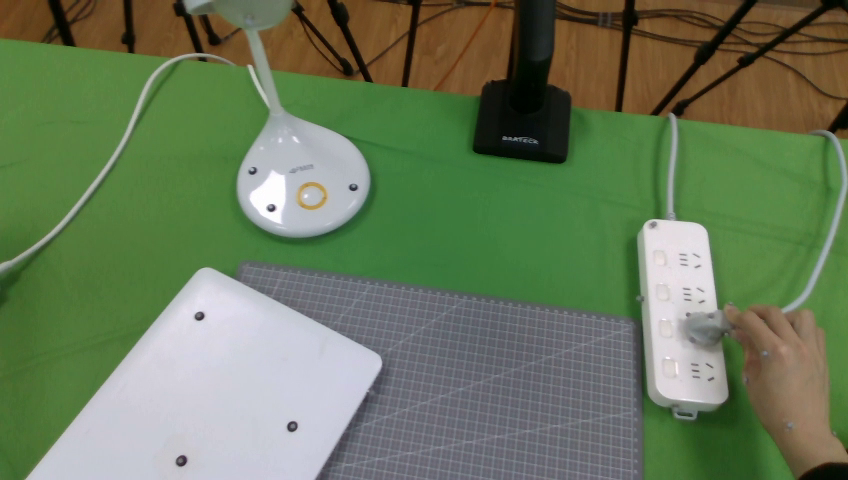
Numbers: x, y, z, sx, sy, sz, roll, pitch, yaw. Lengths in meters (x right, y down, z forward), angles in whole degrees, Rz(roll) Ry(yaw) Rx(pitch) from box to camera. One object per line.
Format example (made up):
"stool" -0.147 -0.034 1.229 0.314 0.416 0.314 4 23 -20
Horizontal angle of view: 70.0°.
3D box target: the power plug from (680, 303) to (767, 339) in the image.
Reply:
"power plug" 0.295 0.088 0.608 0.072 0.053 0.035 17 61 9

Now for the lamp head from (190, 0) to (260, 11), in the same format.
"lamp head" -0.124 -0.229 0.414 0.112 0.111 0.123 -19 105 -10

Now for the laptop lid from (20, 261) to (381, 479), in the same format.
"laptop lid" -0.225 0.201 0.569 0.240 0.013 0.355 27 64 13

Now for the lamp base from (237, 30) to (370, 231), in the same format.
"lamp base" -0.154 -0.128 0.679 0.161 0.182 0.177 -26 60 -14

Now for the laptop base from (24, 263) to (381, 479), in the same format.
"laptop base" -0.227 0.206 0.580 0.234 0.023 0.353 26 64 12

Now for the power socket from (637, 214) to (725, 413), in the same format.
"power socket" 0.270 0.068 0.646 0.072 0.033 0.225 7 60 3
